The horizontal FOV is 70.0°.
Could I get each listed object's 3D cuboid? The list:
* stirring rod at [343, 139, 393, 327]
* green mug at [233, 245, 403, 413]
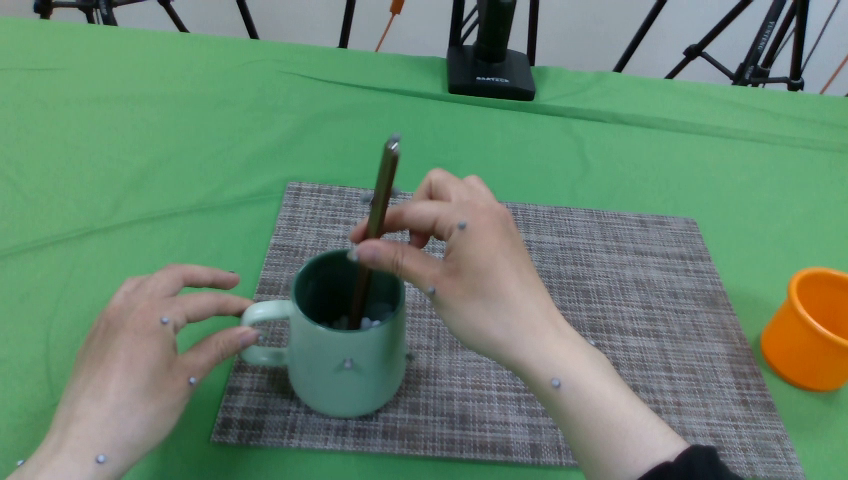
[{"bbox_3d":[-0.039,0.008,0.390,0.006,0.177,0.014,-17,54,-29],"label":"stirring rod"},{"bbox_3d":[-0.076,0.068,0.449,0.125,0.106,0.091,-2,46,-11],"label":"green mug"}]
